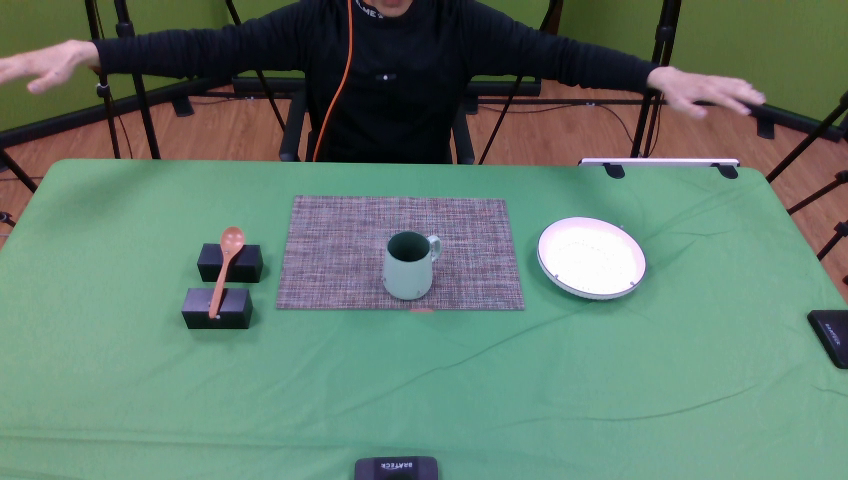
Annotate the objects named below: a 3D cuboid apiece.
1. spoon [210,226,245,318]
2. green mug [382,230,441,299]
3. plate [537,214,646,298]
[{"bbox_3d":[-0.347,0.051,1.051,0.042,0.022,0.192,16,44,-18],"label":"spoon"},{"bbox_3d":[-0.017,0.037,1.097,0.125,0.105,0.092,-34,57,-31],"label":"green mug"},{"bbox_3d":[0.321,0.035,1.176,0.209,0.038,0.208,2,47,-2],"label":"plate"}]
